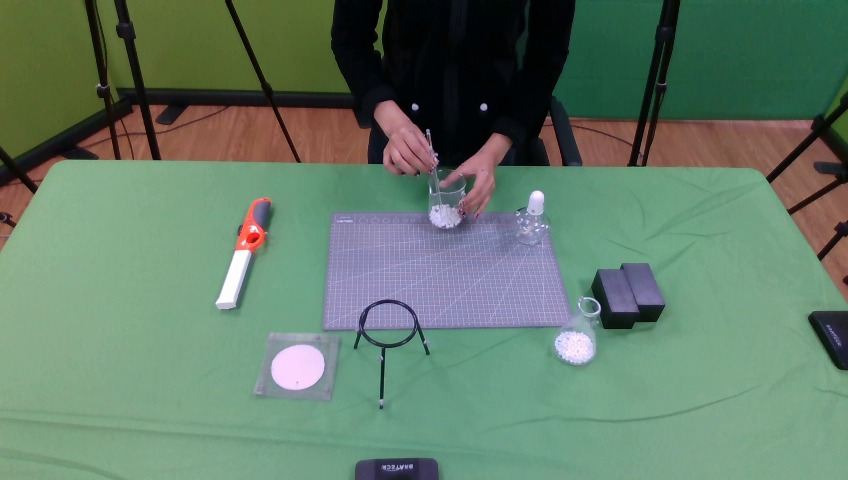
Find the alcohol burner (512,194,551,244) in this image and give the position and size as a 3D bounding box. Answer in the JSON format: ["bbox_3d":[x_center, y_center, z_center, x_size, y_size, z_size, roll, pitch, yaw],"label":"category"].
[{"bbox_3d":[0.215,-0.048,1.196,0.078,0.119,0.077,4,46,-4],"label":"alcohol burner"}]

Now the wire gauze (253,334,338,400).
[{"bbox_3d":[-0.209,0.204,0.996,0.125,0.011,0.120,3,45,1],"label":"wire gauze"}]

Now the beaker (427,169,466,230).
[{"bbox_3d":[0.040,-0.076,1.192,0.073,0.101,0.084,31,51,27],"label":"beaker"}]

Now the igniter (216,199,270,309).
[{"bbox_3d":[-0.342,0.016,1.153,0.057,0.025,0.275,-3,45,7],"label":"igniter"}]

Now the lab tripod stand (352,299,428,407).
[{"bbox_3d":[-0.056,0.166,0.958,0.148,0.132,0.147,3,44,-2],"label":"lab tripod stand"}]

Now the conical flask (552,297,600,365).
[{"bbox_3d":[0.261,0.147,1.009,0.075,0.122,0.075,2,46,-2],"label":"conical flask"}]

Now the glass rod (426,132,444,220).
[{"bbox_3d":[0.021,-0.114,1.122,0.008,0.201,0.008,-7,41,6],"label":"glass rod"}]

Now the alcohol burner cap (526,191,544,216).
[{"bbox_3d":[0.216,-0.073,1.170,0.034,0.048,0.033,0,42,1],"label":"alcohol burner cap"}]
